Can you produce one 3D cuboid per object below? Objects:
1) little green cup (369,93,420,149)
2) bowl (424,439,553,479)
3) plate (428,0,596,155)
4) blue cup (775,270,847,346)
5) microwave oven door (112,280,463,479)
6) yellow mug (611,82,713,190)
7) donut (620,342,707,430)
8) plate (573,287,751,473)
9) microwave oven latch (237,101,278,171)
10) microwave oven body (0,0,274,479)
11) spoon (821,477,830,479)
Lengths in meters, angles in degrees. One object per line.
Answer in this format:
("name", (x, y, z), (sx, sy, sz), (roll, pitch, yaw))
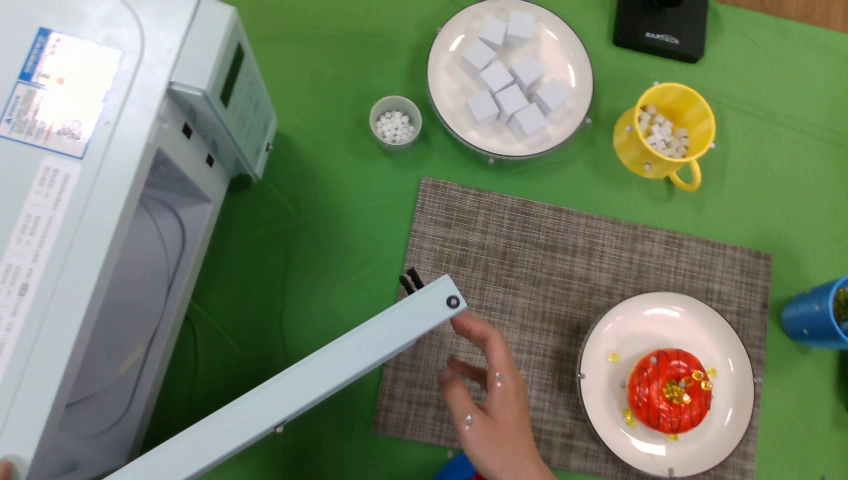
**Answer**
("little green cup", (-0.036, -0.140, 0.724), (0.061, 0.038, 0.061), (1, 80, -7))
("bowl", (0.061, 0.284, 0.639), (0.151, 0.077, 0.150), (1, 79, -6))
("plate", (0.106, -0.201, 0.752), (0.208, 0.039, 0.207), (1, 80, -6))
("blue cup", (0.470, 0.084, 0.706), (0.093, 0.100, 0.092), (2, 78, -7))
("microwave oven door", (-0.136, 0.145, 0.542), (0.356, 0.244, 0.039), (-30, 83, -10))
("yellow mug", (0.298, -0.121, 0.743), (0.100, 0.064, 0.130), (-25, 84, -10))
("donut", (0.271, 0.165, 0.688), (0.099, 0.048, 0.098), (1, 83, -4))
("plate", (0.270, 0.158, 0.700), (0.209, 0.038, 0.208), (1, 80, -5))
("microwave oven latch", (-0.191, -0.121, 0.687), (0.030, 0.029, 0.079), (19, 79, -3))
("microwave oven body", (-0.368, -0.010, 0.550), (0.326, 0.260, 0.440), (15, 79, -3))
("spoon", (0.402, 0.334, 0.694), (0.194, 0.022, 0.041), (-33, 67, -10))
